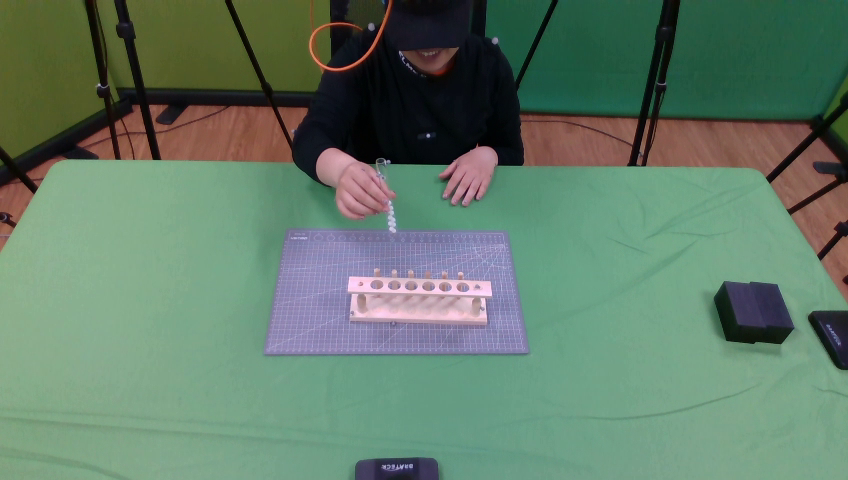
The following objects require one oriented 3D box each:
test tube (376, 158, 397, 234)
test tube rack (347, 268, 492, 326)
[{"bbox_3d":[-0.060,-0.068,0.982,0.017,0.151,0.017,-4,41,4],"label":"test tube"},{"bbox_3d":[-0.009,0.095,1.059,0.242,0.085,0.066,2,46,-2],"label":"test tube rack"}]
